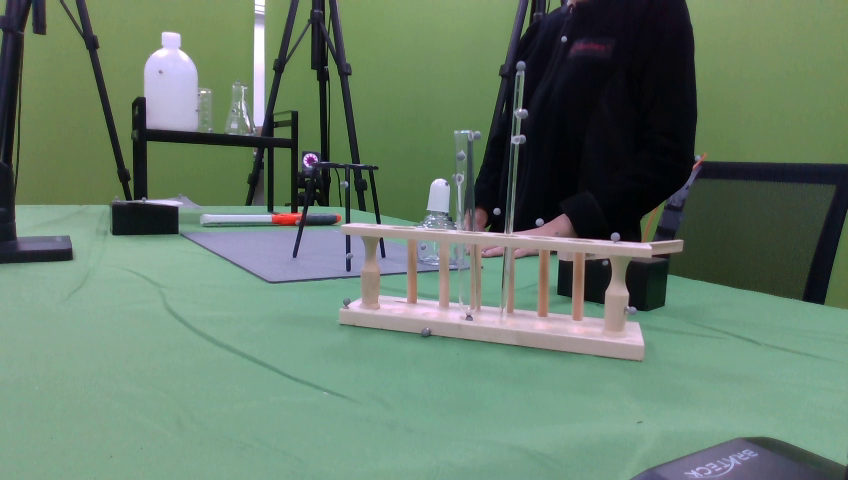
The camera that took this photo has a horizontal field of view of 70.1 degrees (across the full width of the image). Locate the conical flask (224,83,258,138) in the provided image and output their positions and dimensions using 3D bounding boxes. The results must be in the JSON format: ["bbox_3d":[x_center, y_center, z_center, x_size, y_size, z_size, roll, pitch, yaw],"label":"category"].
[{"bbox_3d":[-0.422,-0.299,1.395,0.075,0.122,0.075,2,7,0],"label":"conical flask"}]

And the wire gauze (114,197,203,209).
[{"bbox_3d":[-0.447,-0.062,1.015,0.126,0.011,0.121,-2,8,-31],"label":"wire gauze"}]

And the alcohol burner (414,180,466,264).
[{"bbox_3d":[0.021,-0.028,0.826,0.078,0.119,0.078,0,6,0],"label":"alcohol burner"}]

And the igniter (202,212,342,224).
[{"bbox_3d":[-0.298,-0.044,1.216,0.278,0.025,0.057,-2,-2,-32],"label":"igniter"}]

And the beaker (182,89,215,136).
[{"bbox_3d":[-0.511,-0.285,1.353,0.084,0.100,0.073,-2,8,-25],"label":"beaker"}]

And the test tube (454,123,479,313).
[{"bbox_3d":[0.034,-0.016,0.477,0.017,0.150,0.017,-2,9,1],"label":"test tube"}]

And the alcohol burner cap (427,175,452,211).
[{"bbox_3d":[0.023,-0.064,0.822,0.034,0.048,0.034,7,5,0],"label":"alcohol burner cap"}]

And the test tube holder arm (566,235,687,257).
[{"bbox_3d":[0.215,0.006,0.630,0.179,0.015,0.013,-3,9,-31],"label":"test tube holder arm"}]

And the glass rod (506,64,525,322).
[{"bbox_3d":[0.069,-0.030,0.458,0.008,0.199,0.008,0,15,0],"label":"glass rod"}]

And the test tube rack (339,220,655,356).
[{"bbox_3d":[0.056,0.032,0.495,0.242,0.085,0.067,4,7,15],"label":"test tube rack"}]

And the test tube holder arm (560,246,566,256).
[{"bbox_3d":[0.173,0.007,0.612,0.088,0.015,0.010,-3,9,-30],"label":"test tube holder arm"}]

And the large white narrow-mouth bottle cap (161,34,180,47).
[{"bbox_3d":[-0.511,-0.401,1.220,0.038,0.024,0.037,2,7,0],"label":"large white narrow-mouth bottle cap"}]

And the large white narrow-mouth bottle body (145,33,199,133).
[{"bbox_3d":[-0.513,-0.318,1.231,0.102,0.194,0.102,2,7,0],"label":"large white narrow-mouth bottle body"}]

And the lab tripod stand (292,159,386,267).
[{"bbox_3d":[-0.104,-0.039,0.798,0.148,0.131,0.148,2,5,0],"label":"lab tripod stand"}]
